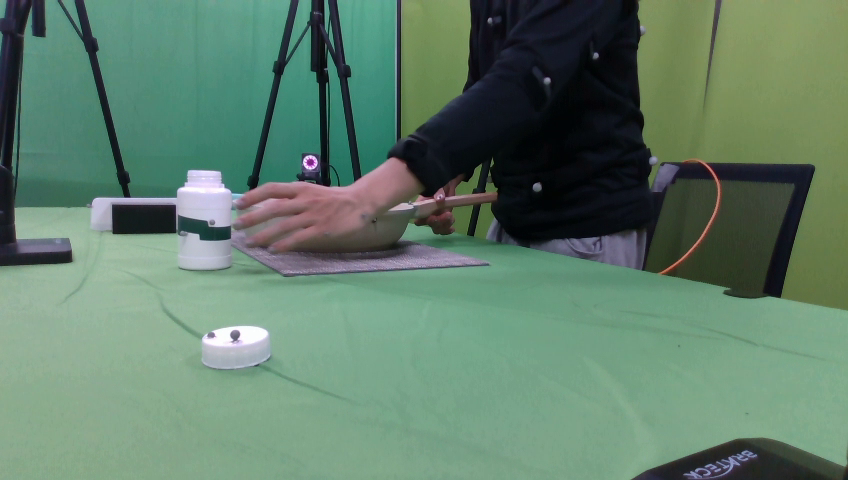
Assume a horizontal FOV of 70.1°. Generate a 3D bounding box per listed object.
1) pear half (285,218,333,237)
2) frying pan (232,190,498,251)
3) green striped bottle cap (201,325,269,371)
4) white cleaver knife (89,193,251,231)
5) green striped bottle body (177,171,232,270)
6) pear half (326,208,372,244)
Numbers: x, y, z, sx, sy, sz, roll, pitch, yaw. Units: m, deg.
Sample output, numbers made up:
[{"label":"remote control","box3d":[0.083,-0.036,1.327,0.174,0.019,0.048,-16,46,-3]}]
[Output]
[{"label":"pear half","box3d":[-0.197,-0.022,1.053,0.088,0.031,0.070,-10,18,-44]},{"label":"frying pan","box3d":[-0.073,-0.051,1.048,0.490,0.102,0.305,-11,13,-27]},{"label":"green striped bottle cap","box3d":[-0.129,0.073,0.415,0.044,0.020,0.044,2,8,0]},{"label":"white cleaver knife","box3d":[-0.454,-0.052,1.114,0.288,0.066,0.021,-4,14,-27]},{"label":"green striped bottle body","box3d":[-0.273,-0.026,0.753,0.063,0.119,0.063,2,7,0]},{"label":"pear half","box3d":[-0.127,-0.025,1.017,0.076,0.056,0.109,6,3,-18]}]
